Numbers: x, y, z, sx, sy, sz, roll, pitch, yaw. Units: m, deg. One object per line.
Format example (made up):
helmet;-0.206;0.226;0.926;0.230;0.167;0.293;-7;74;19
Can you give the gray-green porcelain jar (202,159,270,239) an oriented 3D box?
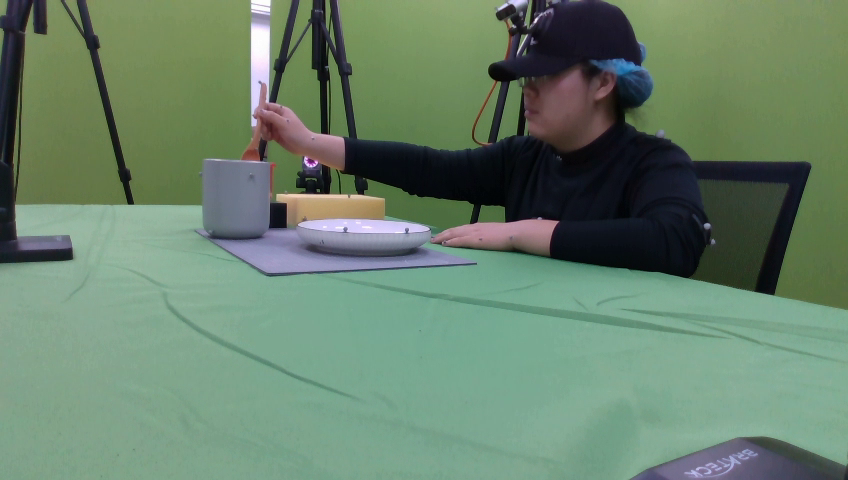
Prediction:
gray-green porcelain jar;-0.310;-0.068;0.999;0.106;0.126;0.106;3;8;0

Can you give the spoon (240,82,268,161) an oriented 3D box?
spoon;-0.326;-0.219;1.186;0.042;0.193;0.021;15;-9;-35

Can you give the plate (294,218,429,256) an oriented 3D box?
plate;-0.096;-0.005;0.936;0.208;0.039;0.207;3;7;0

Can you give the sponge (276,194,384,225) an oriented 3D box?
sponge;-0.203;-0.067;1.312;0.208;0.061;0.117;-3;9;-35
